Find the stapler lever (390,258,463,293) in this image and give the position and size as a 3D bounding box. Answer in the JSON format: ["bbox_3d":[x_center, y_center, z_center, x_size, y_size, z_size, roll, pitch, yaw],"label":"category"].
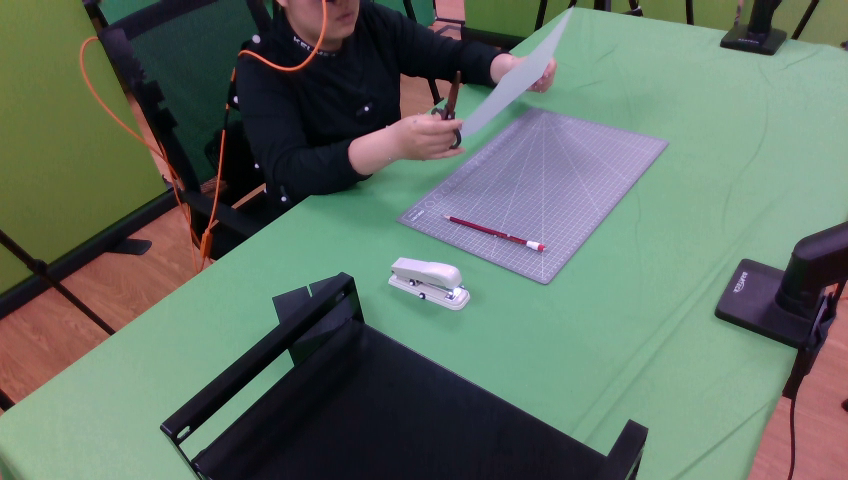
[{"bbox_3d":[0.003,0.046,0.881,0.117,0.040,0.027,17,43,29],"label":"stapler lever"}]

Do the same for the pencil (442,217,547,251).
[{"bbox_3d":[0.110,-0.012,0.979,0.192,0.012,0.012,18,46,30],"label":"pencil"}]

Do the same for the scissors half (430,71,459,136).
[{"bbox_3d":[0.034,-0.215,0.951,0.013,0.175,0.040,-35,83,-19],"label":"scissors half"}]

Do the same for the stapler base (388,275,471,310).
[{"bbox_3d":[0.007,0.066,0.897,0.129,0.024,0.041,17,43,29],"label":"stapler base"}]

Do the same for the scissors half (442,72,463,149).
[{"bbox_3d":[0.047,-0.200,0.947,0.013,0.176,0.040,-40,68,-20],"label":"scissors half"}]
